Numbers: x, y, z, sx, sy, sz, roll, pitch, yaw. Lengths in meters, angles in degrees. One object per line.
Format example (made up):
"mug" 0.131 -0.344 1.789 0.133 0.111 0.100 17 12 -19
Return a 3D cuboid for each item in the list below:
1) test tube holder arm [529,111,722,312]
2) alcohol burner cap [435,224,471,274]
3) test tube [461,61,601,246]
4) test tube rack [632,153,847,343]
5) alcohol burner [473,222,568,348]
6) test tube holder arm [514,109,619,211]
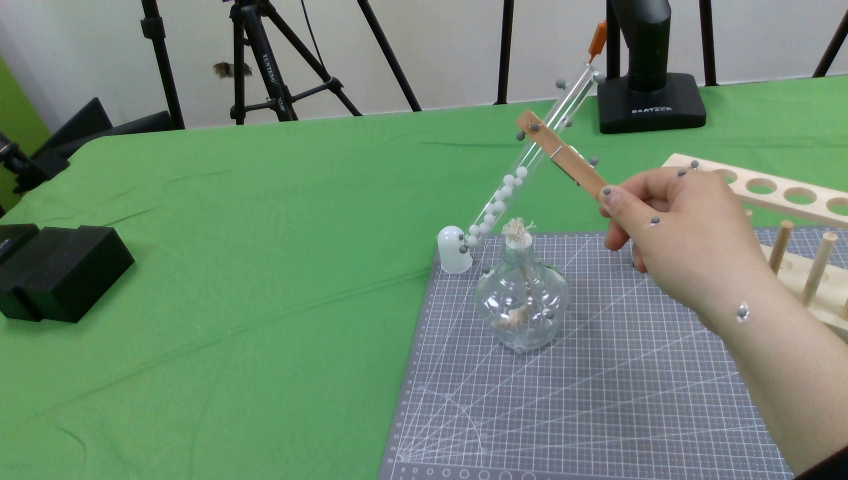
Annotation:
"test tube holder arm" 0.127 -0.023 0.404 0.177 0.015 0.013 48 23 15
"alcohol burner cap" 0.027 0.006 0.588 0.034 0.048 0.033 -7 41 6
"test tube" 0.072 -0.057 0.423 0.150 0.017 0.017 -56 39 16
"test tube rack" 0.293 0.011 0.473 0.240 0.086 0.066 23 52 36
"alcohol burner" 0.076 0.031 0.486 0.078 0.120 0.077 -7 41 6
"test tube holder arm" 0.096 -0.054 0.409 0.087 0.015 0.010 46 22 9
